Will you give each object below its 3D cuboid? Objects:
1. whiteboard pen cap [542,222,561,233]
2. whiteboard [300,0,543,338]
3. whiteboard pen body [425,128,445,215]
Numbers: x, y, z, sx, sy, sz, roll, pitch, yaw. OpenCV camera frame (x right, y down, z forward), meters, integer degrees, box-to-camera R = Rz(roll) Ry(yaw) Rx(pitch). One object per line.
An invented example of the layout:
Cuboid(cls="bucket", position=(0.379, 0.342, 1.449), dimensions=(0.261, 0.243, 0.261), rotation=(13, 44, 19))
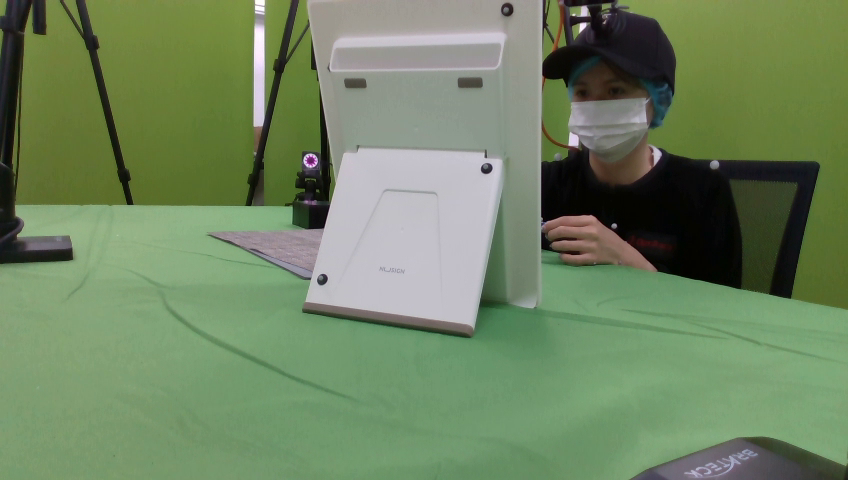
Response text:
Cuboid(cls="whiteboard pen cap", position=(0.192, -0.019, 0.925), dimensions=(0.033, 0.018, 0.018), rotation=(-2, 4, 33))
Cuboid(cls="whiteboard", position=(-0.020, -0.050, 0.523), dimensions=(0.216, 0.305, 0.144), rotation=(6, 27, 22))
Cuboid(cls="whiteboard pen body", position=(0.012, -0.076, 0.658), dimensions=(0.017, 0.017, 0.140), rotation=(3, 46, 3))
